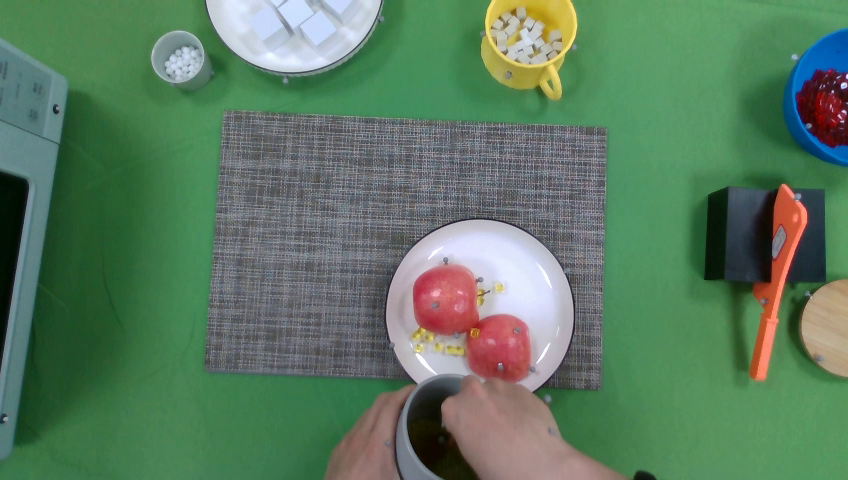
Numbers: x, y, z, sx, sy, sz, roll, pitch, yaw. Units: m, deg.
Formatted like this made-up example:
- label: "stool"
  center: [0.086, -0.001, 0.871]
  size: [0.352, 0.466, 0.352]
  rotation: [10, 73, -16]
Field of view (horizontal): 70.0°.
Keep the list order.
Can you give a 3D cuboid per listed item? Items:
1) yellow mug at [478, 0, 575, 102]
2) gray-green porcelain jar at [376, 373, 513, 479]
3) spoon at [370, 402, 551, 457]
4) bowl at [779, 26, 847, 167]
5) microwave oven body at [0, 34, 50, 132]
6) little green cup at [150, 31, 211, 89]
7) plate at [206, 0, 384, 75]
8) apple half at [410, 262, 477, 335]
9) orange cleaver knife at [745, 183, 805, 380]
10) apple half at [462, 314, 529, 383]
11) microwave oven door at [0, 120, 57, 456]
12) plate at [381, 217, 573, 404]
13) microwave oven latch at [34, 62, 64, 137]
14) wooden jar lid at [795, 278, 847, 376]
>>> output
- label: "yellow mug"
  center: [0.121, -0.217, 0.686]
  size: [0.100, 0.064, 0.130]
  rotation: [-26, 86, -2]
- label: "gray-green porcelain jar"
  center: [0.014, 0.203, 0.574]
  size: [0.106, 0.127, 0.105]
  rotation: [10, 47, -11]
- label: "spoon"
  center: [0.025, 0.166, 0.537]
  size: [0.022, 0.193, 0.041]
  rotation: [37, 45, -34]
- label: "bowl"
  center: [0.457, -0.147, 0.669]
  size: [0.151, 0.077, 0.151]
  rotation: [0, 85, 1]
- label: "microwave oven body"
  center: [-0.599, -0.008, 0.578]
  size: [0.326, 0.260, 0.440]
  rotation: [6, 86, 1]
- label: "little green cup"
  center: [-0.279, -0.206, 0.703]
  size: [0.061, 0.038, 0.061]
  rotation: [0, 86, 0]
- label: "plate"
  center: [-0.147, -0.291, 0.710]
  size: [0.208, 0.039, 0.207]
  rotation: [0, 85, 1]
- label: "apple half"
  center: [0.020, 0.064, 0.659]
  size: [0.074, 0.053, 0.080]
  rotation: [0, 86, 3]
- label: "orange cleaver knife"
  center: [0.368, 0.047, 0.652]
  size: [0.012, 0.077, 0.212]
  rotation: [4, 109, 5]
- label: "apple half"
  center: [0.079, 0.119, 0.662]
  size: [0.081, 0.033, 0.081]
  rotation: [0, 82, 0]
- label: "microwave oven door"
  center: [-0.459, 0.049, 0.566]
  size: [0.039, 0.244, 0.355]
  rotation: [6, 85, 2]
- label: "plate"
  center: [0.057, 0.079, 0.672]
  size: [0.209, 0.038, 0.208]
  rotation: [0, 86, 1]
- label: "microwave oven latch"
  center: [-0.432, -0.159, 0.684]
  size: [0.030, 0.029, 0.079]
  rotation: [9, 86, 1]
- label: "wooden jar lid"
  center: [0.467, 0.097, 0.677]
  size: [0.108, 0.021, 0.108]
  rotation: [0, 85, 2]
